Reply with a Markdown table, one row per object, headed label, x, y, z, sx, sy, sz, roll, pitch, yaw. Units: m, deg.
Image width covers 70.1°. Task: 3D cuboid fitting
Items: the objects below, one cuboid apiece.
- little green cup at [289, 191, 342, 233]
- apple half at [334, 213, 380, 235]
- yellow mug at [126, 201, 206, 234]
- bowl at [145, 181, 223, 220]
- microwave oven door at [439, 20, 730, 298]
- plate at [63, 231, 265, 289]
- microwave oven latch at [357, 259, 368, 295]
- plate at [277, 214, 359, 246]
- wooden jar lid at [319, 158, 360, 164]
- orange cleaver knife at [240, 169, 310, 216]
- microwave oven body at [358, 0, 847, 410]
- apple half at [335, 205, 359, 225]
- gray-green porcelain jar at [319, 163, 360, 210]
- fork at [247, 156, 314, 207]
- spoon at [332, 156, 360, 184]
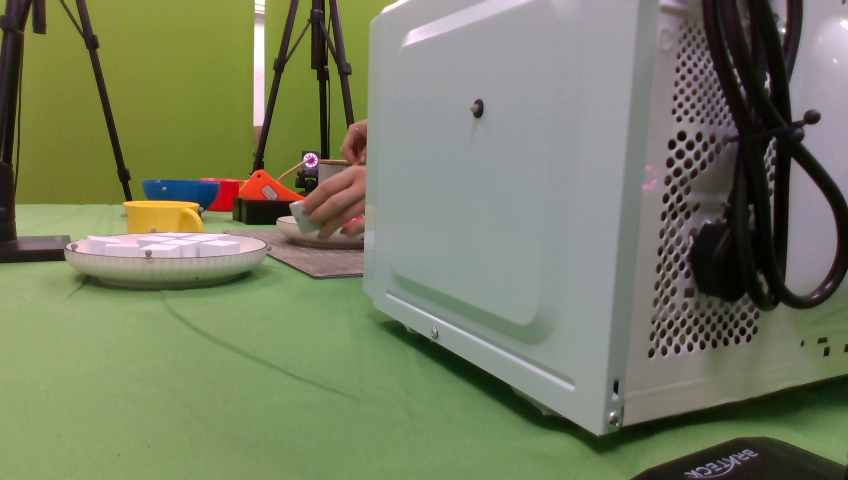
| label | x | y | z | sx | sy | sz | roll | pitch | yaw |
| --- | --- | --- | --- | --- | --- | --- | --- | --- | --- |
| little green cup | -0.131 | -0.034 | 0.743 | 0.061 | 0.038 | 0.061 | -16 | 5 | 2 |
| apple half | -0.112 | -0.029 | 1.034 | 0.081 | 0.033 | 0.081 | 1 | 10 | 0 |
| yellow mug | -0.361 | -0.019 | 0.866 | 0.130 | 0.064 | 0.100 | 6 | 9 | 27 |
| bowl | -0.499 | -0.081 | 1.261 | 0.151 | 0.077 | 0.151 | 2 | 8 | 0 |
| microwave oven door | 0.181 | -0.076 | 0.618 | 0.358 | 0.243 | 0.039 | -2 | 8 | -28 |
| plate | -0.288 | 0.021 | 0.687 | 0.208 | 0.039 | 0.207 | 2 | 8 | 0 |
| microwave oven latch | -0.019 | 0.031 | 0.529 | 0.079 | 0.029 | 0.030 | -1 | 7 | -27 |
| plate | -0.135 | -0.018 | 0.994 | 0.209 | 0.038 | 0.209 | 2 | 7 | 0 |
| wooden jar lid | -0.203 | -0.189 | 1.482 | 0.108 | 0.020 | 0.108 | 2 | 10 | 0 |
| orange cleaver knife | -0.286 | -0.082 | 1.298 | 0.212 | 0.077 | 0.012 | 25 | -2 | -31 |
| microwave oven body | 0.210 | -0.051 | 0.471 | 0.444 | 0.260 | 0.324 | -1 | 7 | -28 |
| apple half | -0.126 | -0.028 | 0.954 | 0.081 | 0.053 | 0.074 | -2 | 11 | -33 |
| gray-green porcelain jar | -0.204 | -0.126 | 1.489 | 0.106 | 0.126 | 0.106 | 2 | 7 | 0 |
| fork | -0.360 | -0.147 | 1.523 | 0.207 | 0.018 | 0.028 | -43 | 15 | -6 |
| spoon | -0.134 | -0.158 | 1.232 | 0.041 | 0.021 | 0.194 | 23 | 39 | 7 |
